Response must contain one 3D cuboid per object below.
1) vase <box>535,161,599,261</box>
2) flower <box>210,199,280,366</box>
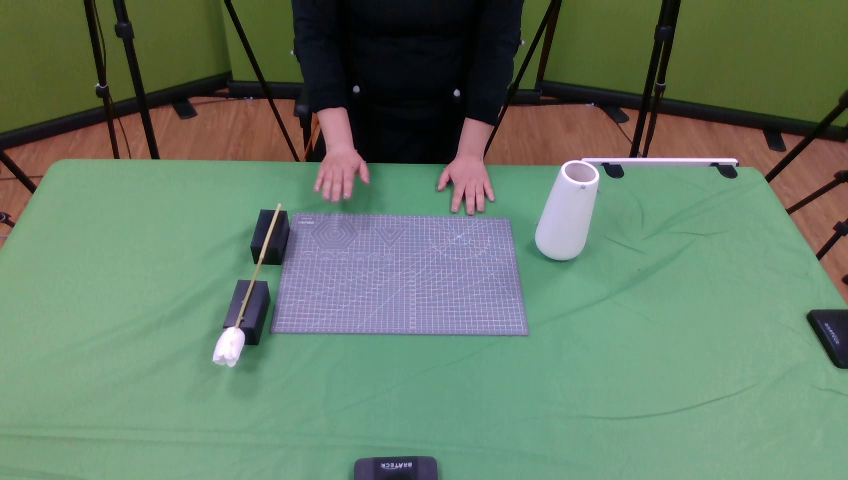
[{"bbox_3d":[0.271,-0.051,1.145,0.098,0.201,0.097,1,46,-1],"label":"vase"},{"bbox_3d":[-0.297,0.056,1.054,0.044,0.038,0.359,-16,44,24],"label":"flower"}]
